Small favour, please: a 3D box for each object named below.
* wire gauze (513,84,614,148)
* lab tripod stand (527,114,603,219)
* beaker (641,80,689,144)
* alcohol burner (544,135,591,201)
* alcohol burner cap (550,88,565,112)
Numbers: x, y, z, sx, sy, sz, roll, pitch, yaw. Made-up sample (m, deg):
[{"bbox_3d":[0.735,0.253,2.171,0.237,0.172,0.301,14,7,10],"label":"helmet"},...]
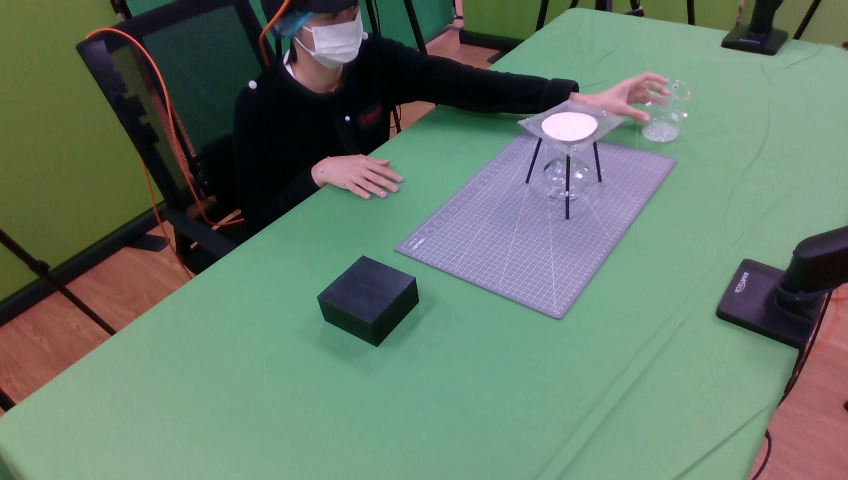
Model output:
[{"bbox_3d":[0.220,-0.194,0.951,0.120,0.011,0.125,23,56,25],"label":"wire gauze"},{"bbox_3d":[0.234,-0.129,1.002,0.148,0.132,0.147,-6,40,6],"label":"lab tripod stand"},{"bbox_3d":[0.447,-0.235,1.125,0.074,0.101,0.083,-33,46,-26],"label":"beaker"},{"bbox_3d":[0.240,-0.125,1.012,0.078,0.119,0.077,-5,42,5],"label":"alcohol burner"},{"bbox_3d":[0.281,-0.297,1.271,0.034,0.048,0.033,-4,40,4],"label":"alcohol burner cap"}]
